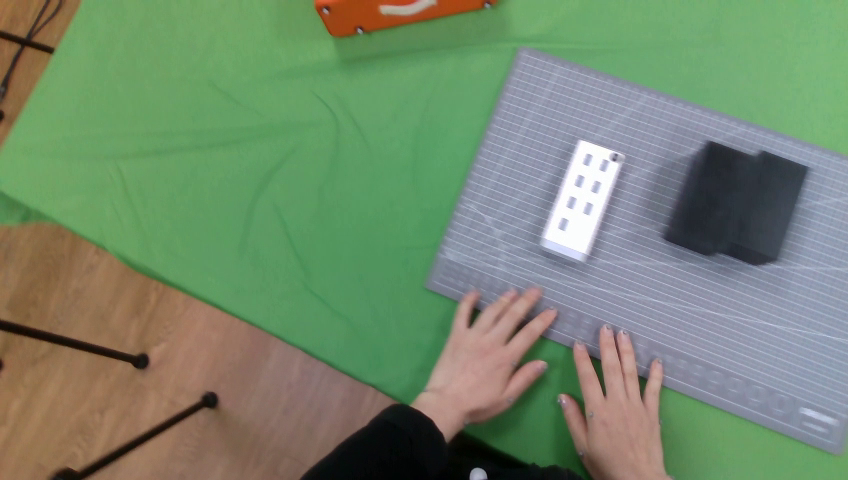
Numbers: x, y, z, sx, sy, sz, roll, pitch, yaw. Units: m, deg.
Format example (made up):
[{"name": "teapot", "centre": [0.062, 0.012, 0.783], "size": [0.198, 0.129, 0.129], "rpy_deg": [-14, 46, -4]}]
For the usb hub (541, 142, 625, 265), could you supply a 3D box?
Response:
[{"name": "usb hub", "centre": [0.171, -0.040, 0.652], "size": [0.049, 0.025, 0.125], "rpy_deg": [22, 85, 8]}]

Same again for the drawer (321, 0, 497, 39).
[{"name": "drawer", "centre": [-0.029, -0.355, 0.694], "size": [0.194, 0.073, 0.211], "rpy_deg": [-10, 80, 4]}]

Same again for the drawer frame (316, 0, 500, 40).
[{"name": "drawer frame", "centre": [-0.029, -0.357, 0.690], "size": [0.201, 0.083, 0.212], "rpy_deg": [-11, 80, 5]}]
